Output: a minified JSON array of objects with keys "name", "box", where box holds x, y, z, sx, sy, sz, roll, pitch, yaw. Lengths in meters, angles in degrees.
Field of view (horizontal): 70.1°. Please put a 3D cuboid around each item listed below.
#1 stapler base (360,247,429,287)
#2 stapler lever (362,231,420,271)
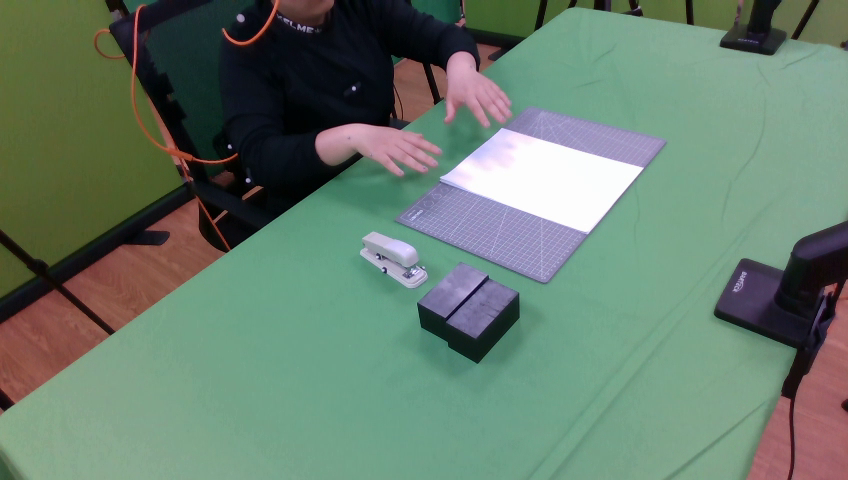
[{"name":"stapler base","box":[-0.048,0.031,0.948,0.041,0.024,0.129,-34,45,-31]},{"name":"stapler lever","box":[-0.052,0.011,0.933,0.027,0.040,0.117,-34,45,-30]}]
